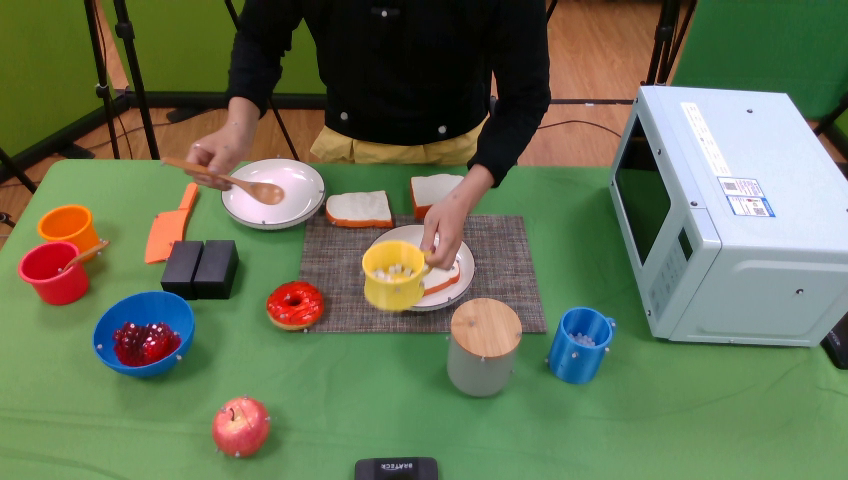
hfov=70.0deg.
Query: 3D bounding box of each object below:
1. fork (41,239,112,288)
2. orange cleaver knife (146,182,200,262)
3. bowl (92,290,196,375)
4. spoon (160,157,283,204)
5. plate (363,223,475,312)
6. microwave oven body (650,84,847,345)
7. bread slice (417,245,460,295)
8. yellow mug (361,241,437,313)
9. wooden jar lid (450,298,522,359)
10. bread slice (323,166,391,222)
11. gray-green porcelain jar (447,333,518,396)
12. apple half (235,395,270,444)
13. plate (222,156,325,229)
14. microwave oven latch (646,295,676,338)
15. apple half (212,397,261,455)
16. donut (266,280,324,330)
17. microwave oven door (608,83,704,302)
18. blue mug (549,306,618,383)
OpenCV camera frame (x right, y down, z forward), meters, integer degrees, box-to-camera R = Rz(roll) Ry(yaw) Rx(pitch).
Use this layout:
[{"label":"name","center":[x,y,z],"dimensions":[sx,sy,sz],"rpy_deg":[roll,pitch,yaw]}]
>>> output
[{"label":"fork","center":[-0.591,0.040,1.028],"dimensions":[0.207,0.019,0.028],"rpy_deg":[-27,36,29]},{"label":"orange cleaver knife","center":[-0.494,-0.039,1.198],"dimensions":[0.077,0.012,0.210],"rpy_deg":[-3,48,2]},{"label":"bowl","center":[-0.436,0.161,0.971],"dimensions":[0.151,0.077,0.150],"rpy_deg":[2,46,-2]},{"label":"spoon","center":[-0.323,-0.101,0.977],"dimensions":[0.194,0.021,0.041],"rpy_deg":[20,61,-27]},{"label":"plate","center":[-0.010,0.054,1.127],"dimensions":[0.208,0.039,0.206],"rpy_deg":[2,46,-2]},{"label":"microwave oven body","center":[0.569,-0.054,1.116],"dimensions":[0.326,0.261,0.439],"rpy_deg":[2,46,-1]},{"label":"bread slice","center":[0.000,0.054,1.129],"dimensions":[0.132,0.019,0.104],"rpy_deg":[-20,51,-21]},{"label":"yellow mug","center":[-0.036,0.053,0.977],"dimensions":[0.131,0.064,0.099],"rpy_deg":[-20,47,-23]},{"label":"wooden jar lid","center":[0.093,0.135,0.914],"dimensions":[0.108,0.021,0.107],"rpy_deg":[3,48,-3]},{"label":"bread slice","center":[-0.140,-0.092,1.224],"dimensions":[0.134,0.018,0.106],"rpy_deg":[-19,51,5]},{"label":"gray-green porcelain jar","center":[0.091,0.178,0.960],"dimensions":[0.106,0.127,0.105],"rpy_deg":[2,46,-2]},{"label":"apple half","center":[-0.245,0.259,0.893],"dimensions":[0.033,0.082,0.081],"rpy_deg":[-29,55,-21]},{"label":"plate","center":[-0.308,-0.095,1.251],"dimensions":[0.209,0.038,0.208],"rpy_deg":[3,46,-3]},{"label":"microwave oven latch","center":[0.413,0.133,1.061],"dimensions":[0.030,0.029,0.078],"rpy_deg":[4,46,1]},{"label":"apple half","center":[-0.276,0.277,0.877],"dimensions":[0.053,0.075,0.080],"rpy_deg":[-29,58,-21]},{"label":"donut","center":[-0.223,0.112,1.051],"dimensions":[0.099,0.048,0.098],"rpy_deg":[2,45,-2]},{"label":"microwave oven door","center":[0.424,-0.096,1.138],"dimensions":[0.039,0.245,0.353],"rpy_deg":[2,47,-1]},{"label":"blue mug","center":[0.269,0.167,0.997],"dimensions":[0.116,0.106,0.082],"rpy_deg":[-19,50,-21]}]
